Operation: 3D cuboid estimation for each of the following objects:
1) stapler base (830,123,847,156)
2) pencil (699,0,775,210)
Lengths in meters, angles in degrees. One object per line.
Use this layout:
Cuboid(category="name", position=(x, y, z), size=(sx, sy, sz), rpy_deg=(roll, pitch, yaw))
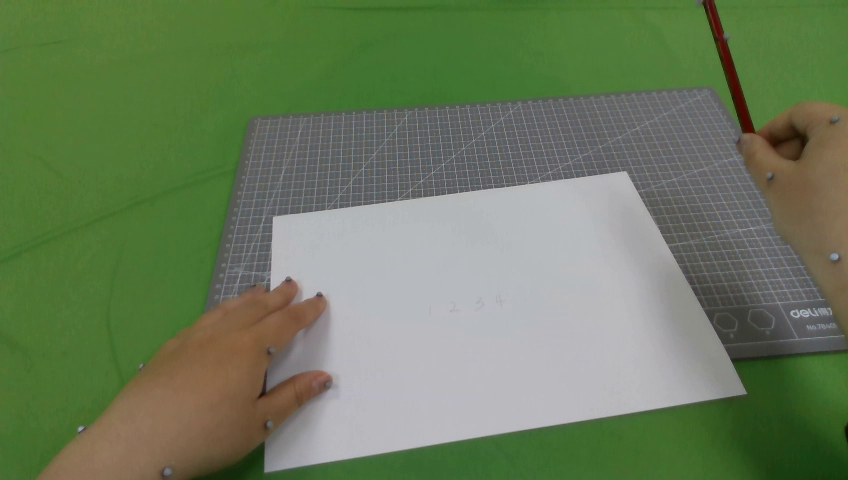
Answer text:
Cuboid(category="stapler base", position=(0.386, -0.059, 0.492), size=(0.041, 0.025, 0.129), rpy_deg=(-10, 50, -2))
Cuboid(category="pencil", position=(0.213, -0.109, 0.417), size=(0.012, 0.012, 0.192), rpy_deg=(-6, 71, -2))
